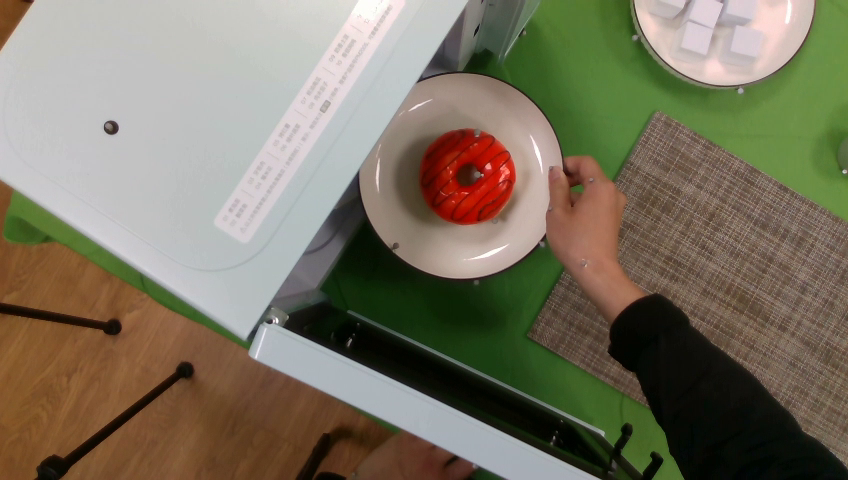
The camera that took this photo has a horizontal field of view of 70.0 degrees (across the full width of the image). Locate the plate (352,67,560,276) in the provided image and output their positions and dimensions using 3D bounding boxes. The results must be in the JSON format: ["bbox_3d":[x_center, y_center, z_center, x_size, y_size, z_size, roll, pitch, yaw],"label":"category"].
[{"bbox_3d":[0.032,-0.068,0.618,0.209,0.038,0.209,0,93,0],"label":"plate"}]

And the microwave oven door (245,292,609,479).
[{"bbox_3d":[0.032,0.147,0.559,0.356,0.244,0.039,25,88,0],"label":"microwave oven door"}]

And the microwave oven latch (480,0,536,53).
[{"bbox_3d":[0.095,-0.248,0.666,0.030,0.029,0.079,37,90,0],"label":"microwave oven latch"}]

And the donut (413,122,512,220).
[{"bbox_3d":[0.038,-0.069,0.606,0.099,0.048,0.099,0,93,4],"label":"donut"}]

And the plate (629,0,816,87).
[{"bbox_3d":[0.333,-0.274,0.689,0.208,0.039,0.207,0,89,-1],"label":"plate"}]

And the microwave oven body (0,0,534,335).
[{"bbox_3d":[-0.125,-0.183,0.566,0.326,0.260,0.441,33,90,-1],"label":"microwave oven body"}]

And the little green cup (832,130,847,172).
[{"bbox_3d":[0.503,-0.104,0.690,0.061,0.038,0.061,0,88,-1],"label":"little green cup"}]
